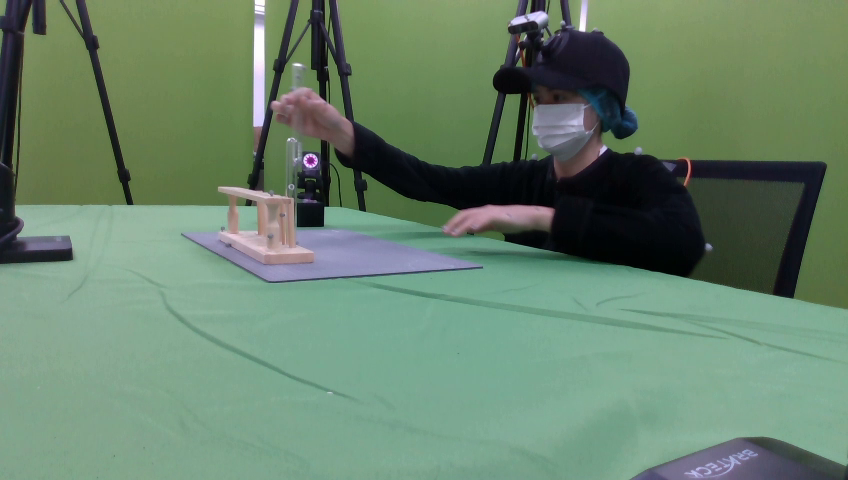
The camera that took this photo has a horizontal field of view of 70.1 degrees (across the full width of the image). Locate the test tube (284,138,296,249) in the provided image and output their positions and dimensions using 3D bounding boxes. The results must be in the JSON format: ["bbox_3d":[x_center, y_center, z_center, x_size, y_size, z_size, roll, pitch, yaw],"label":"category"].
[{"bbox_3d":[-0.181,-0.062,0.816,0.017,0.150,0.017,2,7,0],"label":"test tube"}]

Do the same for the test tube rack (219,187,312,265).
[{"bbox_3d":[-0.234,-0.027,0.872,0.067,0.085,0.241,-1,8,-31],"label":"test tube rack"}]

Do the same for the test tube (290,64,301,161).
[{"bbox_3d":[-0.201,-0.198,0.946,0.017,0.150,0.017,3,8,0],"label":"test tube"}]
